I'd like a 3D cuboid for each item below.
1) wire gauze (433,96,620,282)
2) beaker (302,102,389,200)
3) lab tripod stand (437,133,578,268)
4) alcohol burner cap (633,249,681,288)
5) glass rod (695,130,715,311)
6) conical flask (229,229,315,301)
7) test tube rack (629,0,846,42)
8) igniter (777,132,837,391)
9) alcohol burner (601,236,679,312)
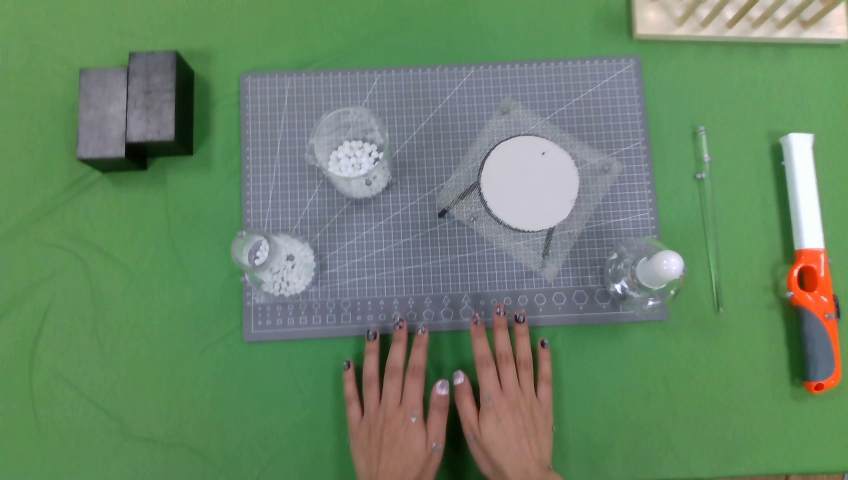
[{"bbox_3d":[0.089,-0.048,0.528,0.125,0.011,0.121,34,84,4],"label":"wire gauze"},{"bbox_3d":[-0.075,-0.084,0.616,0.084,0.100,0.073,-19,81,-3],"label":"beaker"},{"bbox_3d":[0.086,-0.040,0.595,0.148,0.132,0.148,0,83,1],"label":"lab tripod stand"},{"bbox_3d":[0.218,0.024,0.561,0.034,0.048,0.033,1,75,-3],"label":"alcohol burner cap"},{"bbox_3d":[0.307,-0.023,0.661,0.008,0.008,0.199,-2,84,-1],"label":"glass rod"},{"bbox_3d":[-0.152,0.019,0.588,0.075,0.122,0.075,0,81,-1],"label":"conical flask"},{"bbox_3d":[0.358,-0.268,0.660,0.242,0.085,0.066,1,81,0],"label":"test tube rack"},{"bbox_3d":[0.408,0.019,0.647,0.057,0.025,0.275,1,81,-11],"label":"igniter"},{"bbox_3d":[0.217,0.031,0.596,0.078,0.119,0.077,0,80,2],"label":"alcohol burner"}]
